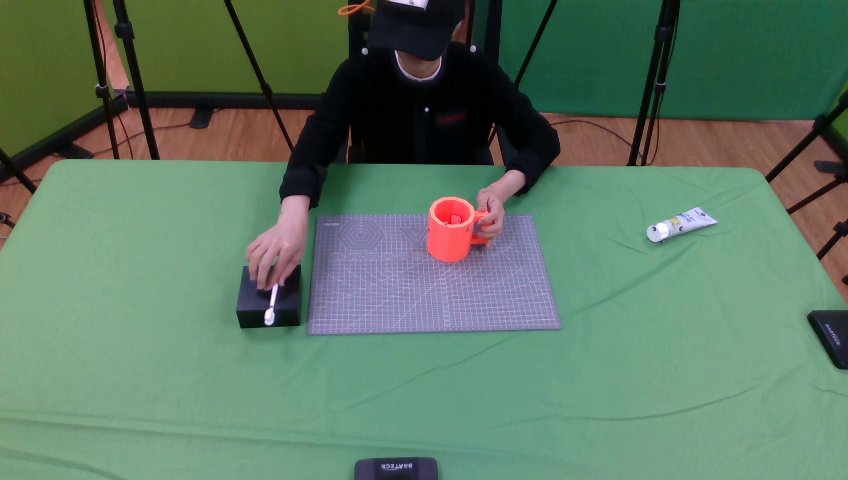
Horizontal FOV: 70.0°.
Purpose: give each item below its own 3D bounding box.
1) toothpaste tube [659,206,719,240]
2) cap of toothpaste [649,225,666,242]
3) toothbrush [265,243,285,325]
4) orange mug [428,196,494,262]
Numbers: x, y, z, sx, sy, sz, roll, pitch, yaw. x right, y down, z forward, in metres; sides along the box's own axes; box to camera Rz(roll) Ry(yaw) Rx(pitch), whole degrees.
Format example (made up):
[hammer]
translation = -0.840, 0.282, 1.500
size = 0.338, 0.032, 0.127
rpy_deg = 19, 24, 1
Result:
[toothpaste tube]
translation = 0.542, -0.035, 1.259
size = 0.165, 0.034, 0.054
rpy_deg = -19, 54, -26
[cap of toothpaste]
translation = 0.473, -0.015, 1.226
size = 0.011, 0.037, 0.037
rpy_deg = -20, 50, -26
[toothbrush]
translation = -0.256, 0.070, 1.046
size = 0.014, 0.017, 0.180
rpy_deg = -6, 46, 3
[orange mug]
translation = 0.070, -0.023, 1.164
size = 0.126, 0.101, 0.083
rpy_deg = -7, 46, -5
